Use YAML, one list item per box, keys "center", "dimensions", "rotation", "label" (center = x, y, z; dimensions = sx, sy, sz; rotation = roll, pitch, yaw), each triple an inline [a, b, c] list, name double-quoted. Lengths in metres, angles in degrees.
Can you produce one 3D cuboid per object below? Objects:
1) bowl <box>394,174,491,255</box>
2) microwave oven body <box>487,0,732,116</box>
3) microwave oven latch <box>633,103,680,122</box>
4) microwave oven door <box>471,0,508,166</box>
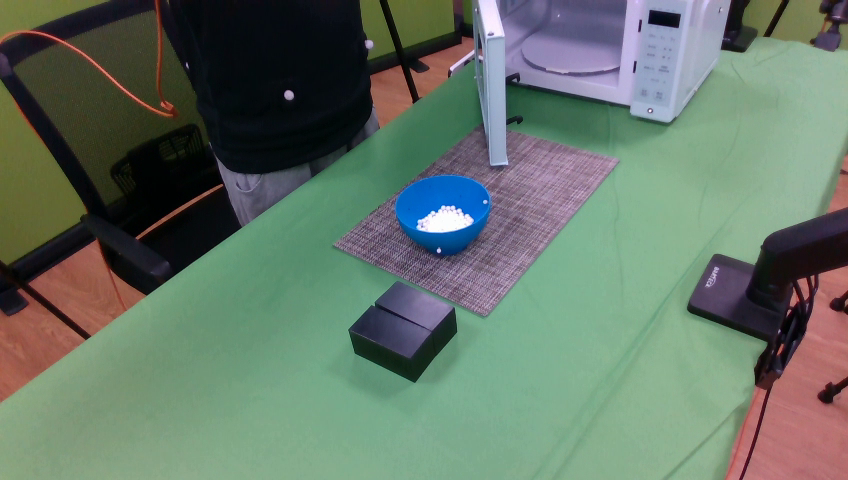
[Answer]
- center: [0.032, -0.030, 0.949]
  dimensions: [0.151, 0.077, 0.150]
  rotation: [-4, 40, 4]
  label: "bowl"
- center: [0.377, -0.462, 1.267]
  dimensions: [0.438, 0.261, 0.327]
  rotation: [21, 49, 30]
  label: "microwave oven body"
- center: [0.443, -0.249, 1.157]
  dimensions: [0.078, 0.029, 0.030]
  rotation: [21, 49, 30]
  label: "microwave oven latch"
- center: [0.122, -0.340, 1.153]
  dimensions: [0.039, 0.245, 0.354]
  rotation: [-5, 40, 3]
  label: "microwave oven door"
